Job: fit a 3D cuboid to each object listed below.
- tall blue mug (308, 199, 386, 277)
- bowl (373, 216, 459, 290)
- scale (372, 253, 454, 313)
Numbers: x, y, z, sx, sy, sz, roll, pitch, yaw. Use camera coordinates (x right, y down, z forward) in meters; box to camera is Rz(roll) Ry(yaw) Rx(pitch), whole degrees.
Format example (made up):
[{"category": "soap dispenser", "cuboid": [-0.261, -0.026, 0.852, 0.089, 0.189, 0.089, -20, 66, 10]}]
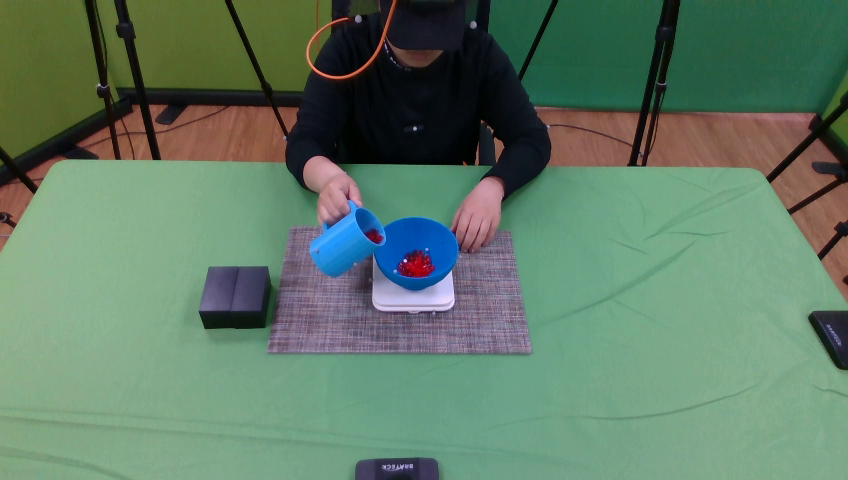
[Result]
[{"category": "tall blue mug", "cuboid": [-0.137, -0.010, 1.016, 0.107, 0.108, 0.078, 57, 25, 2]}, {"category": "bowl", "cuboid": [-0.015, 0.036, 1.075, 0.151, 0.077, 0.150, 2, 46, -1]}, {"category": "scale", "cuboid": [-0.022, 0.051, 1.134, 0.149, 0.032, 0.199, 1, 46, -4]}]
